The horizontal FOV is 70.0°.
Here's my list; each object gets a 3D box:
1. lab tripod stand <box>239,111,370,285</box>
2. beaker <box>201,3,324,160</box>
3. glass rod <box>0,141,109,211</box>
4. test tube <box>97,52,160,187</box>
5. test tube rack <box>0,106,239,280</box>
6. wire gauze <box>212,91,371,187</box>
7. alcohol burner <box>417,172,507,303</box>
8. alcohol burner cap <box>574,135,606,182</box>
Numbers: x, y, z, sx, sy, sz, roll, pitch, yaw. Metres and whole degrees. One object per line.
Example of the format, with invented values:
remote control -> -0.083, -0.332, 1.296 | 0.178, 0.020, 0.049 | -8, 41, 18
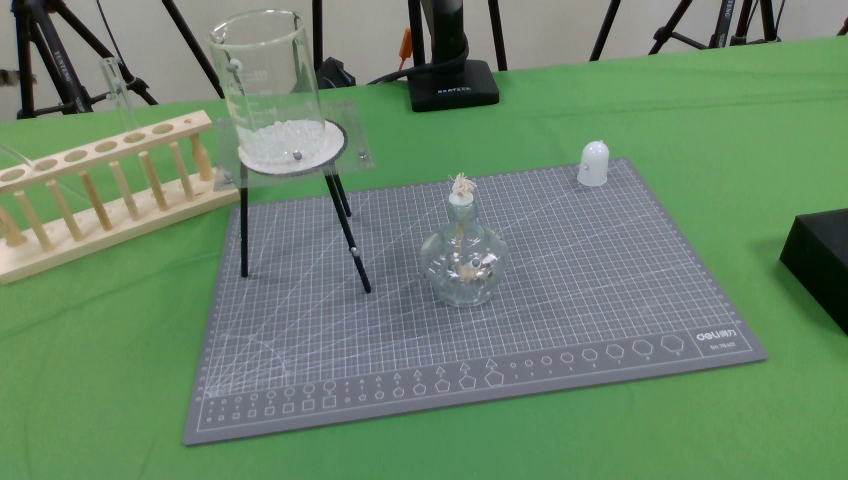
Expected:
lab tripod stand -> -0.109, -0.036, 0.547 | 0.148, 0.133, 0.147 | -3, 43, 3
beaker -> -0.122, -0.121, 0.471 | 0.083, 0.101, 0.073 | 13, 43, 21
glass rod -> -0.390, -0.081, 0.581 | 0.008, 0.202, 0.008 | -18, 52, 24
test tube -> -0.304, -0.120, 0.628 | 0.017, 0.151, 0.017 | -2, 38, 2
test tube rack -> -0.330, -0.054, 0.631 | 0.243, 0.086, 0.066 | -24, 44, -21
wire gauze -> -0.114, -0.085, 0.504 | 0.125, 0.011, 0.120 | -13, 39, -5
alcohol burner -> 0.032, -0.005, 0.514 | 0.078, 0.120, 0.077 | -3, 39, 3
alcohol burner cap -> 0.180, -0.091, 0.654 | 0.034, 0.048, 0.033 | -2, 41, 2
